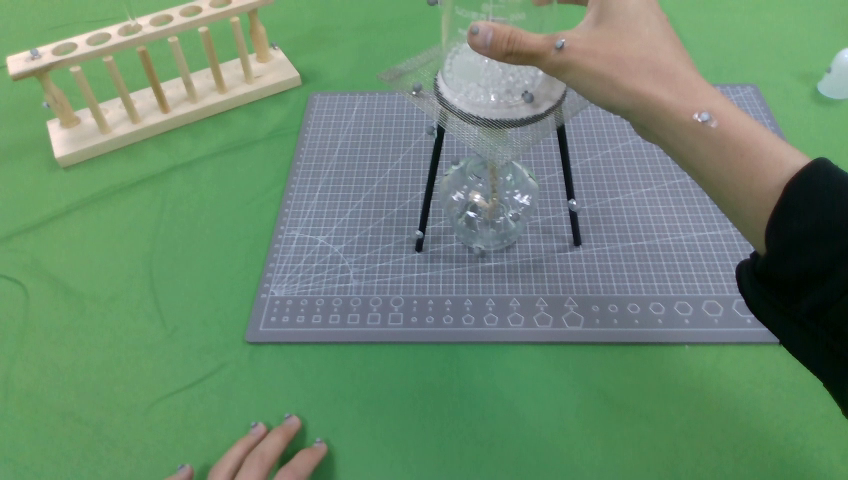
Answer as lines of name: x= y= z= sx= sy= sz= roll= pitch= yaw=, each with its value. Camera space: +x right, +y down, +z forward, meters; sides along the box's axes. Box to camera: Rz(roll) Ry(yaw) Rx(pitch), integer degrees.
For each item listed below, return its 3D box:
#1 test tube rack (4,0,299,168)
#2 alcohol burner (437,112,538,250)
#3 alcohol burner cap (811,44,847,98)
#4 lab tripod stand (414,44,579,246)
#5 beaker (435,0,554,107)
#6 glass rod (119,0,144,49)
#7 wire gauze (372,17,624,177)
test tube rack: x=-0.254 y=-0.163 z=0.591 sx=0.242 sy=0.086 sz=0.066 roll=-25 pitch=52 yaw=-17
alcohol burner: x=0.048 y=-0.048 z=0.453 sx=0.078 sy=0.120 sz=0.077 roll=-1 pitch=51 yaw=1
alcohol burner cap: x=0.401 y=-0.165 z=0.584 sx=0.034 sy=0.048 sz=0.033 roll=-1 pitch=49 yaw=2
lab tripod stand: x=0.055 y=-0.065 z=0.454 sx=0.148 sy=0.133 sz=0.147 roll=0 pitch=49 yaw=1
beaker: x=0.040 y=-0.140 z=0.368 sx=0.083 sy=0.101 sz=0.073 roll=15 pitch=51 yaw=14
glass rod: x=-0.267 y=-0.207 z=0.541 sx=0.008 sy=0.201 sz=0.008 roll=2 pitch=50 yaw=-2
wire gauze: x=0.048 y=-0.106 z=0.403 sx=0.121 sy=0.011 sz=0.124 roll=-35 pitch=59 yaw=-23
